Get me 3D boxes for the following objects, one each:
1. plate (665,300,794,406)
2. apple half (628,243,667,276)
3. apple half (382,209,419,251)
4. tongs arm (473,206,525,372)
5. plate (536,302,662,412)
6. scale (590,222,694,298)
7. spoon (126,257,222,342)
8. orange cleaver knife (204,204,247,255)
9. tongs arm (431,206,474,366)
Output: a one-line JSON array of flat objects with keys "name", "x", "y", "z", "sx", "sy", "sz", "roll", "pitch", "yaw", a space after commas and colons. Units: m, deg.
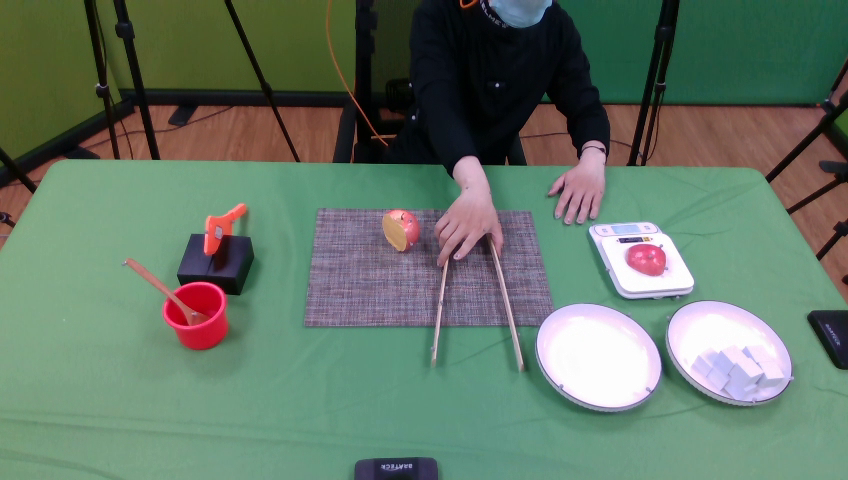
[{"name": "plate", "x": 0.513, "y": 0.194, "z": 1.034, "sx": 0.208, "sy": 0.039, "sz": 0.206, "roll": 2, "pitch": 46, "yaw": -2}, {"name": "apple half", "x": 0.427, "y": 0.028, "z": 1.150, "sx": 0.081, "sy": 0.033, "sz": 0.081, "roll": 3, "pitch": 47, "yaw": -2}, {"name": "apple half", "x": -0.039, "y": -0.022, "z": 1.175, "sx": 0.053, "sy": 0.075, "sz": 0.080, "roll": -27, "pitch": 50, "yaw": -31}, {"name": "tongs arm", "x": 0.138, "y": 0.074, "z": 1.125, "sx": 0.028, "sy": 0.028, "sz": 0.385, "roll": -6, "pitch": 46, "yaw": -3}, {"name": "plate", "x": 0.288, "y": 0.197, "z": 1.016, "sx": 0.209, "sy": 0.038, "sz": 0.208, "roll": 2, "pitch": 46, "yaw": -2}, {"name": "scale", "x": 0.424, "y": 0.031, "z": 1.189, "sx": 0.149, "sy": 0.032, "sz": 0.199, "roll": -3, "pitch": 46, "yaw": -7}, {"name": "spoon", "x": -0.407, "y": 0.096, "z": 0.990, "sx": 0.194, "sy": 0.021, "sz": 0.041, "roll": 50, "pitch": 53, "yaw": -18}, {"name": "orange cleaver knife", "x": -0.374, "y": -0.024, "z": 1.146, "sx": 0.012, "sy": 0.077, "sz": 0.211, "roll": 4, "pitch": 14, "yaw": 1}, {"name": "tongs arm", "x": 0.058, "y": 0.069, "z": 1.123, "sx": 0.051, "sy": 0.026, "sz": 0.382, "roll": 6, "pitch": 45, "yaw": 3}]
